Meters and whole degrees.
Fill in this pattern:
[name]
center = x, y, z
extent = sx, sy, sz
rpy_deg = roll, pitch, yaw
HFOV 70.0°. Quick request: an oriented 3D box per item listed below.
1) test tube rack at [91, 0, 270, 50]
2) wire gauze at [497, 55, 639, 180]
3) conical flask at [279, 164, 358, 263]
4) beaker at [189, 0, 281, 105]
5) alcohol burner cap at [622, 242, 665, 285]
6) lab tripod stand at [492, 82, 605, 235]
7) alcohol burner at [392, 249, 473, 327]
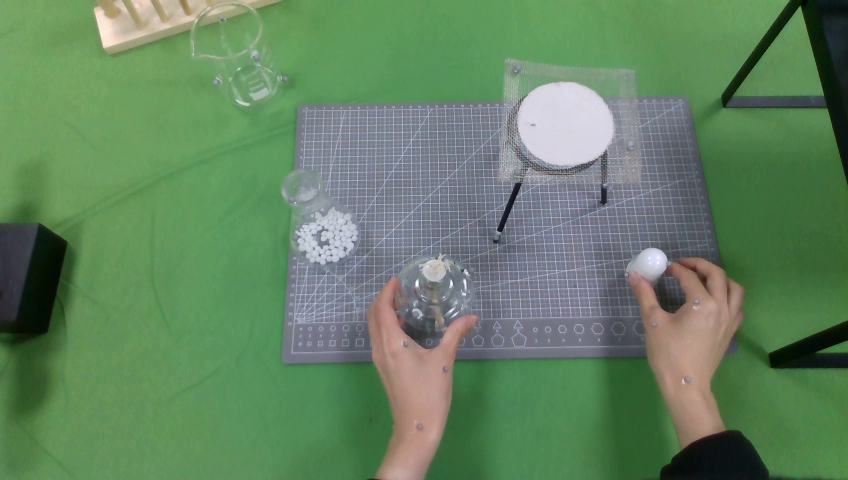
[test tube rack]
center = -0.282, -0.313, 0.715
extent = 0.242, 0.086, 0.066
rpy_deg = -20, 71, -7
[wire gauze]
center = 0.127, -0.110, 0.536
extent = 0.121, 0.011, 0.124
rpy_deg = 4, 70, 1
[conical flask]
center = -0.107, -0.030, 0.587
extent = 0.075, 0.122, 0.075
rpy_deg = 0, 69, 1
[beaker]
center = -0.205, -0.202, 0.666
extent = 0.084, 0.101, 0.073
rpy_deg = -42, 74, -13
[alcohol burner cap]
center = 0.217, 0.020, 0.592
extent = 0.034, 0.048, 0.033
rpy_deg = 1, 62, -1
[lab tripod stand]
center = 0.121, -0.081, 0.598
extent = 0.148, 0.132, 0.147
rpy_deg = 0, 68, -1
[alcohol burner]
center = 0.008, 0.039, 0.566
extent = 0.078, 0.120, 0.077
rpy_deg = 0, 68, -1
